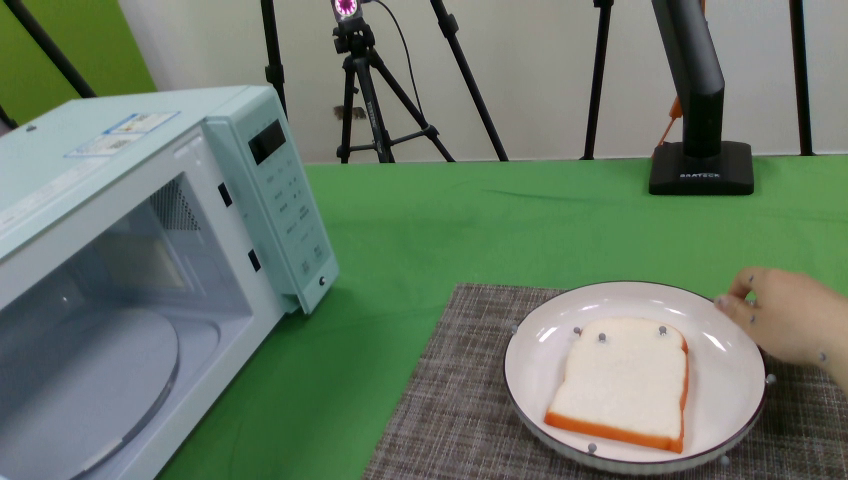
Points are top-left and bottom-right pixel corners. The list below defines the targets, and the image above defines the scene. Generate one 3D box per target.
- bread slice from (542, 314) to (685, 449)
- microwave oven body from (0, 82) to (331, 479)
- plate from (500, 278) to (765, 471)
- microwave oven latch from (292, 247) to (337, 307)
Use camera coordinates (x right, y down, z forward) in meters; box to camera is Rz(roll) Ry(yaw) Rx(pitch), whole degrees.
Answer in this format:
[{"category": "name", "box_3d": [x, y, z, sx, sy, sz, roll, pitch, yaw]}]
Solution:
[{"category": "bread slice", "box_3d": [0.167, 0.112, 0.519, 0.104, 0.019, 0.131, 4, 38, 25]}, {"category": "microwave oven body", "box_3d": [-0.349, 0.059, 0.585, 0.324, 0.262, 0.439, 3, 37, 23]}, {"category": "plate", "box_3d": [0.170, 0.110, 0.517, 0.209, 0.038, 0.207, -10, 33, 7]}, {"category": "microwave oven latch", "box_3d": [-0.131, 0.042, 0.709, 0.030, 0.030, 0.079, 4, 37, 24]}]
